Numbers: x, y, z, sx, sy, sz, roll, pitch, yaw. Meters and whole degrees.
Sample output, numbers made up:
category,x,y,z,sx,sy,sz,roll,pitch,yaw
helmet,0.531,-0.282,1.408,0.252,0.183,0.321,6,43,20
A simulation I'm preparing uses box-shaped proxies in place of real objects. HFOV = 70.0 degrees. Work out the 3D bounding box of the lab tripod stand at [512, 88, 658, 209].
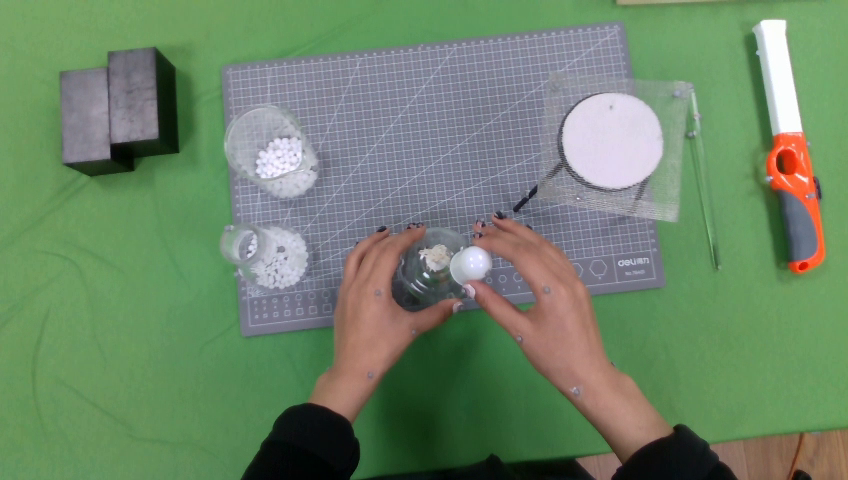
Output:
category,x,y,z,sx,sy,sz,roll,pitch,yaw
lab tripod stand,0.158,-0.078,0.591,0.148,0.132,0.148,0,84,1

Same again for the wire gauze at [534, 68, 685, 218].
category,x,y,z,sx,sy,sz,roll,pitch,yaw
wire gauze,0.160,-0.086,0.524,0.125,0.011,0.121,8,84,2

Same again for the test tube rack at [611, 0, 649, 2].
category,x,y,z,sx,sy,sz,roll,pitch,yaw
test tube rack,0.329,-0.313,0.646,0.242,0.085,0.066,-3,82,0

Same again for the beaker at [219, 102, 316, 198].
category,x,y,z,sx,sy,sz,roll,pitch,yaw
beaker,-0.149,-0.084,0.611,0.084,0.100,0.074,30,84,4

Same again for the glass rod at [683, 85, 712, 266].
category,x,y,z,sx,sy,sz,roll,pitch,yaw
glass rod,0.296,-0.071,0.655,0.008,0.008,0.199,-5,85,-1

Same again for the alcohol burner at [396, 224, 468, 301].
category,x,y,z,sx,sy,sz,roll,pitch,yaw
alcohol burner,0.010,0.020,0.590,0.078,0.119,0.077,0,83,3

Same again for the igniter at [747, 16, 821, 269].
category,x,y,z,sx,sy,sz,roll,pitch,yaw
igniter,0.386,-0.107,0.650,0.057,0.025,0.275,-4,83,-10

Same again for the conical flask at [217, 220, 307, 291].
category,x,y,z,sx,sy,sz,roll,pitch,yaw
conical flask,-0.161,0.009,0.587,0.075,0.122,0.075,0,82,0

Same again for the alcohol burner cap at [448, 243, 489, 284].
category,x,y,z,sx,sy,sz,roll,pitch,yaw
alcohol burner cap,0.039,0.017,0.509,0.034,0.048,0.033,2,79,-9
